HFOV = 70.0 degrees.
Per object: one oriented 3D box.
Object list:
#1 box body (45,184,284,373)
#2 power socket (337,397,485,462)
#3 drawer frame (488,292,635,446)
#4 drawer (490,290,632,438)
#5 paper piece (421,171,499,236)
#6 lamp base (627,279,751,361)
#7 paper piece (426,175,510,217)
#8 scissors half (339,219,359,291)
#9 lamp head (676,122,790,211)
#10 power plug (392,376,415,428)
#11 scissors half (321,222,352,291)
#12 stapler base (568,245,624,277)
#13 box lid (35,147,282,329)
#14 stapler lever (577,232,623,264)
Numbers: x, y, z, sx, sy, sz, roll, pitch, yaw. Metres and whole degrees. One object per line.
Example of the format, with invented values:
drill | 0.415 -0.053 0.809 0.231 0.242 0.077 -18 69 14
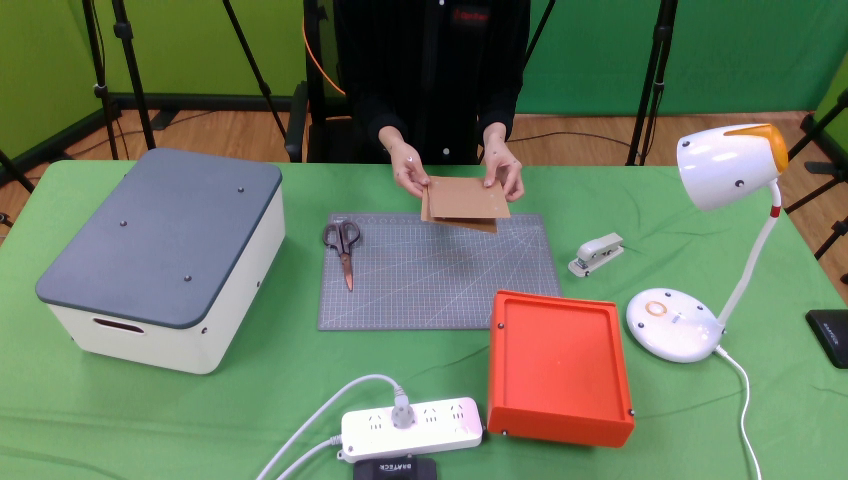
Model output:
box body | -0.414 0.029 1.040 0.254 0.161 0.362 10 46 5
power socket | -0.018 0.285 0.915 0.227 0.033 0.071 -4 46 -8
drawer frame | 0.204 0.191 0.931 0.202 0.083 0.212 7 45 2
drawer | 0.203 0.185 0.934 0.194 0.073 0.210 7 47 1
paper piece | 0.068 -0.066 1.061 0.135 0.004 0.135 13 45 -1
lamp base | 0.460 0.100 1.027 0.178 0.181 0.160 27 51 17
paper piece | 0.075 -0.079 1.060 0.136 0.009 0.137 3 36 -6
scissors half | -0.144 0.026 1.162 0.040 0.013 0.174 -7 51 1
lamp head | 0.423 -0.104 0.819 0.122 0.113 0.112 -13 33 40
power plug | -0.030 0.249 0.917 0.035 0.053 0.072 3 46 0
scissors half | -0.163 0.030 1.160 0.040 0.013 0.174 -17 51 -14
stapler base | 0.341 0.029 1.196 0.130 0.024 0.041 -26 57 -28
box lid | -0.411 -0.023 0.987 0.263 0.015 0.369 10 47 5
stapler lever | 0.344 0.010 1.178 0.118 0.040 0.026 -26 56 -29
